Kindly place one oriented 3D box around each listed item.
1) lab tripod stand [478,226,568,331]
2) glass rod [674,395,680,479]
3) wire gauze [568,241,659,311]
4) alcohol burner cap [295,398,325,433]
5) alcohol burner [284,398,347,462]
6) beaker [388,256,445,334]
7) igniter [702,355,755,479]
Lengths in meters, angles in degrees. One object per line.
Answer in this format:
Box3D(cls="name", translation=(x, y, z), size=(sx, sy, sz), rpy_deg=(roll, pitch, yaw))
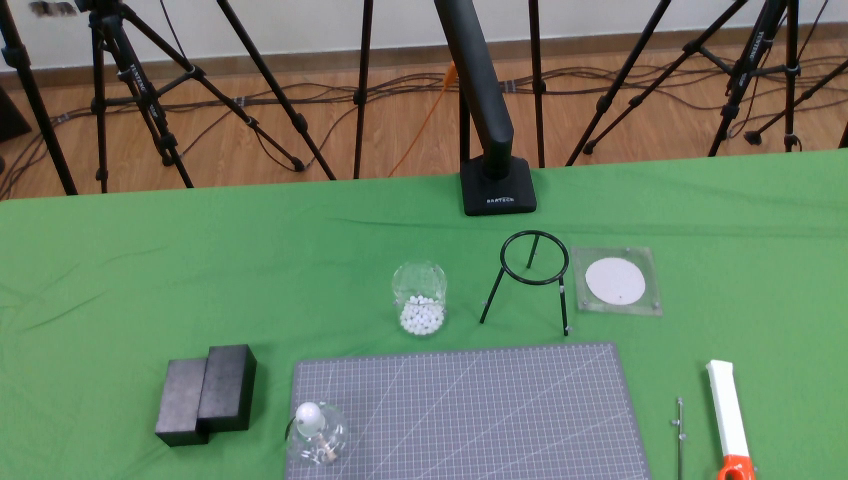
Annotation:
Box3D(cls="lab tripod stand", translation=(0.144, 0.051, 0.843), size=(0.148, 0.133, 0.147), rpy_deg=(-2, 52, 3))
Box3D(cls="glass rod", translation=(0.311, 0.284, 0.745), size=(0.008, 0.008, 0.198), rpy_deg=(10, 55, 9))
Box3D(cls="wire gauze", translation=(0.285, 0.052, 0.917), size=(0.125, 0.011, 0.120), rpy_deg=(1, 53, 5))
Box3D(cls="alcohol burner cap", translation=(-0.134, 0.202, 0.705), size=(0.034, 0.048, 0.033), rpy_deg=(1, 56, -1))
Box3D(cls="alcohol burner", translation=(-0.134, 0.223, 0.734), size=(0.078, 0.120, 0.077), rpy_deg=(-1, 52, 2))
Box3D(cls="beaker", translation=(-0.006, 0.081, 0.848), size=(0.083, 0.101, 0.074), rpy_deg=(36, 63, 24))
Box3D(cls="igniter", translation=(0.379, 0.270, 0.741), size=(0.057, 0.025, 0.274), rpy_deg=(10, 54, -3))
